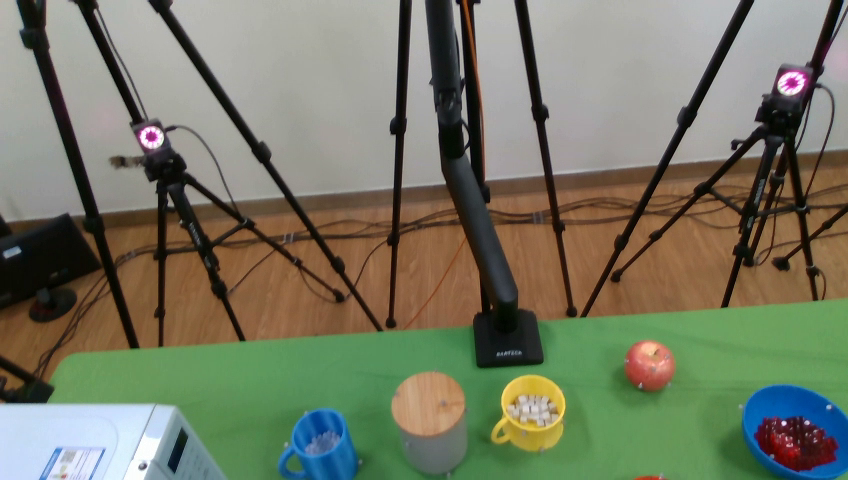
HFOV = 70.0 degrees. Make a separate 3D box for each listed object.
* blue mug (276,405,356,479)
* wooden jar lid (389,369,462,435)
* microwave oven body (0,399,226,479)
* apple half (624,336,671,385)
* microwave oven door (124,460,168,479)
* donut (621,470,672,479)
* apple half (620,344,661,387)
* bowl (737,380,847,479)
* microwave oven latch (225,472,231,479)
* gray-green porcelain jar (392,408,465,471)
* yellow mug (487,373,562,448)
[{"bbox_3d":[-0.169,0.325,0.931,0.117,0.107,0.081,-22,45,-15],"label":"blue mug"},{"bbox_3d":[0.003,0.240,0.891,0.108,0.021,0.107,-4,41,4],"label":"wooden jar lid"},{"bbox_3d":[-0.479,0.446,0.725,0.326,0.263,0.437,-2,44,6],"label":"microwave oven body"},{"bbox_3d":[0.380,0.199,1.014,0.053,0.075,0.080,-24,41,-24],"label":"apple half"},{"bbox_3d":[-0.337,0.466,0.676,0.039,0.246,0.352,-2,43,6],"label":"microwave oven door"},{"bbox_3d":[0.320,0.372,0.853,0.099,0.049,0.098,-3,44,4],"label":"donut"},{"bbox_3d":[0.348,0.215,0.998,0.033,0.082,0.080,-25,45,-24],"label":"apple half"},{"bbox_3d":[0.534,0.291,0.891,0.151,0.077,0.150,-4,43,4],"label":"bowl"},{"bbox_3d":[-0.312,0.389,0.903,0.030,0.030,0.078,0,44,7],"label":"microwave oven latch"},{"bbox_3d":[0.009,0.286,0.933,0.106,0.128,0.105,-4,43,4],"label":"gray-green porcelain jar"},{"bbox_3d":[0.156,0.279,0.965,0.131,0.064,0.099,-27,46,-19],"label":"yellow mug"}]
